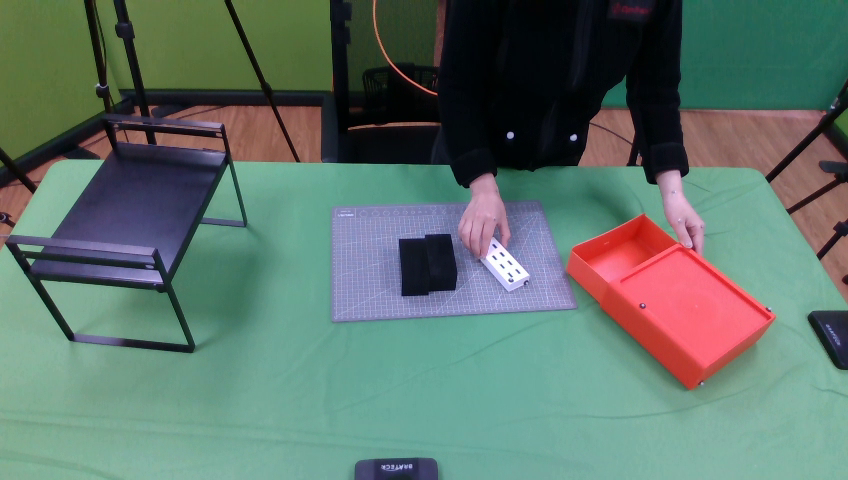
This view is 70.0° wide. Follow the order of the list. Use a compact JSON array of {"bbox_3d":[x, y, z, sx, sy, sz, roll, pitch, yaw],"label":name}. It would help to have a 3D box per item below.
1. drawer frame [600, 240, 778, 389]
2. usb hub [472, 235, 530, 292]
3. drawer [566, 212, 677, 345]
[{"bbox_3d":[0.460,0.122,1.068,0.202,0.083,0.212,-25,53,-25],"label":"drawer frame"},{"bbox_3d":[0.145,0.043,1.160,0.049,0.025,0.124,-24,51,-22],"label":"usb hub"},{"bbox_3d":[0.407,0.066,1.124,0.194,0.073,0.210,-23,53,-24],"label":"drawer"}]
